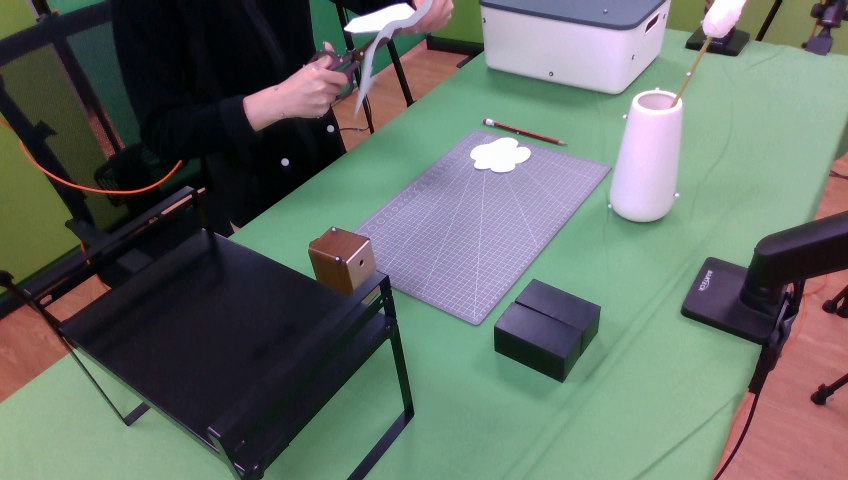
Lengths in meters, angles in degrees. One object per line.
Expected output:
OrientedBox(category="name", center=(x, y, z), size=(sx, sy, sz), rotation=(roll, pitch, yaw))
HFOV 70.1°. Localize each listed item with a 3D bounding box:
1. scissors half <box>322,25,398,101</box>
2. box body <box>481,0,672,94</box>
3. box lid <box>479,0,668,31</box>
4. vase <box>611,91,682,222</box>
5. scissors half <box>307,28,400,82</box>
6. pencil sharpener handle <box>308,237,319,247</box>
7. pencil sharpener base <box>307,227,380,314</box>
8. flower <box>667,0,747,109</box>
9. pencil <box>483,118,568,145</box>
OrientedBox(category="scissors half", center=(-0.098, -0.271, 0.931), size=(0.174, 0.040, 0.013), rotation=(-37, 14, 34))
OrientedBox(category="box body", center=(0.341, -0.480, 1.381), size=(0.361, 0.161, 0.255), rotation=(22, 48, 30))
OrientedBox(category="box lid", center=(0.335, -0.536, 1.331), size=(0.368, 0.015, 0.264), rotation=(23, 49, 30))
OrientedBox(category="vase", center=(0.348, -0.125, 0.935), size=(0.098, 0.201, 0.097), rotation=(-3, 40, 3))
OrientedBox(category="scissors half", center=(-0.110, -0.287, 0.924), size=(0.174, 0.040, 0.013), rotation=(-15, 30, 26))
OrientedBox(category="pencil sharpener handle", center=(-0.159, 0.017, 0.892), size=(0.030, 0.068, 0.036), rotation=(18, 60, 28))
OrientedBox(category="pencil sharpener base", center=(-0.116, 0.043, 0.875), size=(0.076, 0.107, 0.061), rotation=(18, 47, 27))
OrientedBox(category="flower", center=(0.354, -0.187, 0.879), size=(0.038, 0.362, 0.044), rotation=(30, 48, 14))
OrientedBox(category="pencil", center=(0.202, -0.217, 1.213), size=(0.192, 0.012, 0.012), rotation=(24, 49, 29))
